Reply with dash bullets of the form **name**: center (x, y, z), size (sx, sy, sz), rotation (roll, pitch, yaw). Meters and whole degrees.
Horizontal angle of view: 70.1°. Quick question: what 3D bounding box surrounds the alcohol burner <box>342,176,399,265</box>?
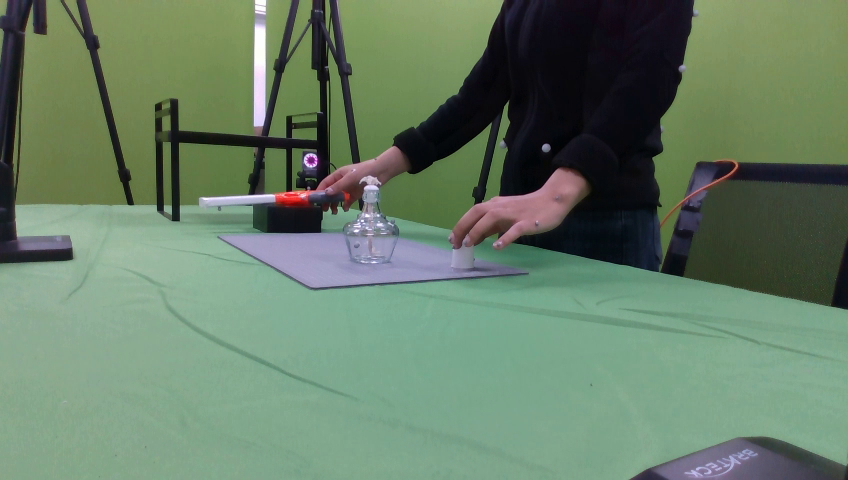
- **alcohol burner**: center (-0.073, -0.027, 0.818), size (0.078, 0.119, 0.078), rotation (1, 6, 0)

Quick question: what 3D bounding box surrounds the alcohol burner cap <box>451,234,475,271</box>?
- **alcohol burner cap**: center (0.052, 0.016, 0.807), size (0.034, 0.048, 0.034), rotation (1, 7, 0)

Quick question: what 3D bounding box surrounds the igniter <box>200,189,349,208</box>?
- **igniter**: center (-0.275, -0.079, 1.142), size (0.278, 0.025, 0.057), rotation (-6, 11, -31)
